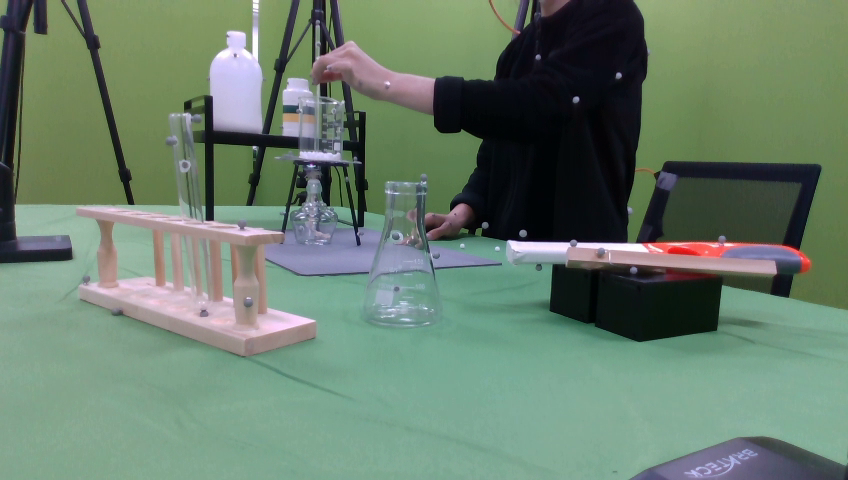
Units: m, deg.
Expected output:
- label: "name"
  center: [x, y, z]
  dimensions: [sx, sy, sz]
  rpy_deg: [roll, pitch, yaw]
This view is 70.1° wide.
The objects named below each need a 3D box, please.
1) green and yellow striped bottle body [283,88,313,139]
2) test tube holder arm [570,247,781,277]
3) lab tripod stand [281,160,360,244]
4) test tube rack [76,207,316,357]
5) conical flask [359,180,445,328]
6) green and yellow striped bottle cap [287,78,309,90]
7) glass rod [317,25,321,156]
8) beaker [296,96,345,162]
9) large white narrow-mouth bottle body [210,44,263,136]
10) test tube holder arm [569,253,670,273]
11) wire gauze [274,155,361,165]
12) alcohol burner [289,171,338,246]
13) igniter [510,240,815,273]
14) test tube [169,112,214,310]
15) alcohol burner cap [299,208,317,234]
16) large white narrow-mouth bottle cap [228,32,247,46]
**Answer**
- label: "green and yellow striped bottle body"
  center: [-0.265, -0.275, 1.275]
  dimensions: [0.063, 0.119, 0.063]
  rpy_deg: [3, 7, 0]
- label: "test tube holder arm"
  center: [0.217, 0.019, 0.524]
  dimensions: [0.178, 0.015, 0.013]
  rpy_deg: [3, -23, 3]
- label: "lab tripod stand"
  center: [-0.170, -0.063, 0.983]
  dimensions: [0.148, 0.131, 0.148]
  rpy_deg: [1, 6, 0]
- label: "test tube rack"
  center: [-0.196, 0.023, 0.499]
  dimensions: [0.241, 0.085, 0.067]
  rpy_deg: [8, 9, 36]
- label: "conical flask"
  center: [-0.017, 0.010, 0.522]
  dimensions: [0.075, 0.122, 0.075]
  rpy_deg: [2, 7, 0]
- label: "green and yellow striped bottle cap"
  center: [-0.265, -0.326, 1.268]
  dimensions: [0.045, 0.020, 0.045]
  rpy_deg: [4, 6, 0]
- label: "glass rod"
  center: [-0.163, -0.230, 0.937]
  dimensions: [0.008, 0.199, 0.008]
  rpy_deg: [1, 7, 0]
- label: "beaker"
  center: [-0.163, -0.175, 0.966]
  dimensions: [0.083, 0.100, 0.074]
  rpy_deg: [7, 8, 34]
- label: "large white narrow-mouth bottle body"
  center: [-0.369, -0.305, 1.194]
  dimensions: [0.102, 0.194, 0.102]
  rpy_deg: [3, 8, 0]
- label: "test tube holder arm"
  center: [0.172, 0.019, 0.532]
  dimensions: [0.088, 0.015, 0.010]
  rpy_deg: [3, -23, 4]
- label: "wire gauze"
  center: [-0.174, -0.129, 0.978]
  dimensions: [0.125, 0.011, 0.121]
  rpy_deg: [-2, 6, -19]
- label: "alcohol burner"
  center: [-0.177, -0.051, 0.968]
  dimensions: [0.078, 0.119, 0.078]
  rpy_deg: [1, 6, 0]
- label: "igniter"
  center: [0.220, 0.015, 0.566]
  dimensions: [0.277, 0.025, 0.057]
  rpy_deg: [2, 16, 0]
- label: "test tube"
  center: [-0.175, -0.020, 0.455]
  dimensions: [0.017, 0.150, 0.017]
  rpy_deg: [-3, 9, 1]
- label: "alcohol burner cap"
  center: [-0.213, -0.035, 1.109]
  dimensions: [0.034, 0.048, 0.034]
  rpy_deg: [2, 7, 0]
- label: "large white narrow-mouth bottle cap"
  center: [-0.364, -0.391, 1.180]
  dimensions: [0.038, 0.024, 0.037]
  rpy_deg: [3, 8, 0]
